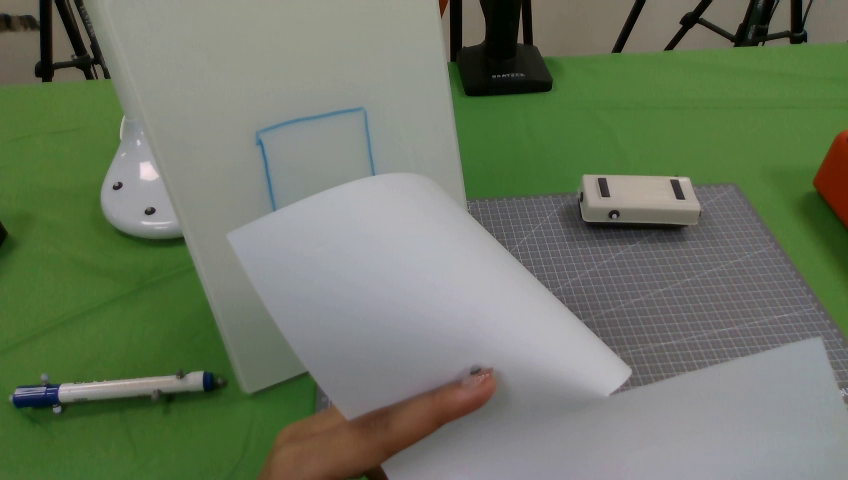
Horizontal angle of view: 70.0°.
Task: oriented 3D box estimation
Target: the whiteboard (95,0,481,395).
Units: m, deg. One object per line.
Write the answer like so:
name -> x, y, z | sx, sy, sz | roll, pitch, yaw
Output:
whiteboard -> -0.096, -0.069, 0.504 | 0.217, 0.308, 0.142 | -19, 28, -17

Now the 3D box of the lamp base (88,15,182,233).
lamp base -> -0.279, -0.125, 0.612 | 0.178, 0.182, 0.160 | 25, 50, 28

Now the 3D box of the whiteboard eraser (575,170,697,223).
whiteboard eraser -> 0.214, -0.043, 0.620 | 0.112, 0.042, 0.055 | 1, 43, 2

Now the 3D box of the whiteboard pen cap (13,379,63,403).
whiteboard pen cap -> -0.298, 0.117, 0.471 | 0.033, 0.018, 0.018 | -2, 43, -10

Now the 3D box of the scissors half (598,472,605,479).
scissors half -> 0.107, 0.176, 0.247 | 0.013, 0.040, 0.175 | -24, 87, 10

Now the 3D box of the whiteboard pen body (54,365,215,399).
whiteboard pen body -> -0.239, 0.113, 0.479 | 0.141, 0.017, 0.017 | -4, 44, -9

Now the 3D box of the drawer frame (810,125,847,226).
drawer frame -> 0.522, -0.023, 0.569 | 0.202, 0.083, 0.211 | -3, 43, -1

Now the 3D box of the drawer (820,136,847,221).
drawer -> 0.522, -0.017, 0.565 | 0.194, 0.074, 0.209 | -2, 43, 0
